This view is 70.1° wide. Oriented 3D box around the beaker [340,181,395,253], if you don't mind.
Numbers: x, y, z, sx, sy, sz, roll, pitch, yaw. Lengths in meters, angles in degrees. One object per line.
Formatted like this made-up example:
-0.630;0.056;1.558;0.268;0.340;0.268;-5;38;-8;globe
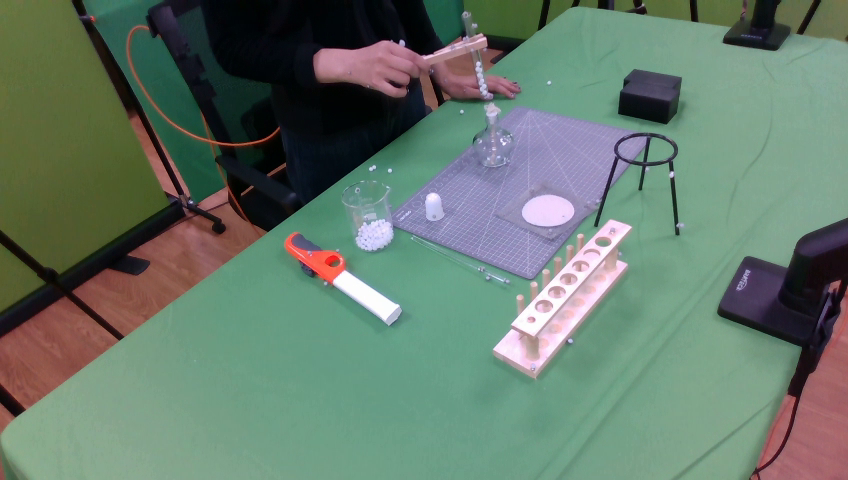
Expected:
-0.086;-0.037;0.985;0.084;0.101;0.073;-18;41;-11;beaker

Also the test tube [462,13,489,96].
0.086;-0.305;1.007;0.017;0.151;0.017;-11;44;11;test tube

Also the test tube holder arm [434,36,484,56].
0.058;-0.313;0.994;0.088;0.015;0.010;-24;37;-7;test tube holder arm

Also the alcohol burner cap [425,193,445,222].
0.017;-0.058;1.029;0.034;0.048;0.033;-6;40;5;alcohol burner cap

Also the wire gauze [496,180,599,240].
0.206;-0.050;1.012;0.125;0.011;0.120;-34;45;-26;wire gauze

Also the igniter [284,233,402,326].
-0.136;0.054;0.942;0.274;0.025;0.057;30;63;37;igniter

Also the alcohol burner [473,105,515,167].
0.128;-0.196;1.116;0.078;0.119;0.077;-4;40;4;alcohol burner

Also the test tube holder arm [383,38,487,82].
0.018;-0.294;0.986;0.178;0.015;0.013;-20;36;-2;test tube holder arm

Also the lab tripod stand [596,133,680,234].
0.338;-0.091;0.940;0.148;0.132;0.147;-7;39;6;lab tripod stand

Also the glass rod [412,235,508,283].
0.051;0.028;0.952;0.198;0.008;0.008;25;51;37;glass rod

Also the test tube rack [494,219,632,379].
0.191;0.068;0.818;0.066;0.085;0.243;25;51;35;test tube rack
